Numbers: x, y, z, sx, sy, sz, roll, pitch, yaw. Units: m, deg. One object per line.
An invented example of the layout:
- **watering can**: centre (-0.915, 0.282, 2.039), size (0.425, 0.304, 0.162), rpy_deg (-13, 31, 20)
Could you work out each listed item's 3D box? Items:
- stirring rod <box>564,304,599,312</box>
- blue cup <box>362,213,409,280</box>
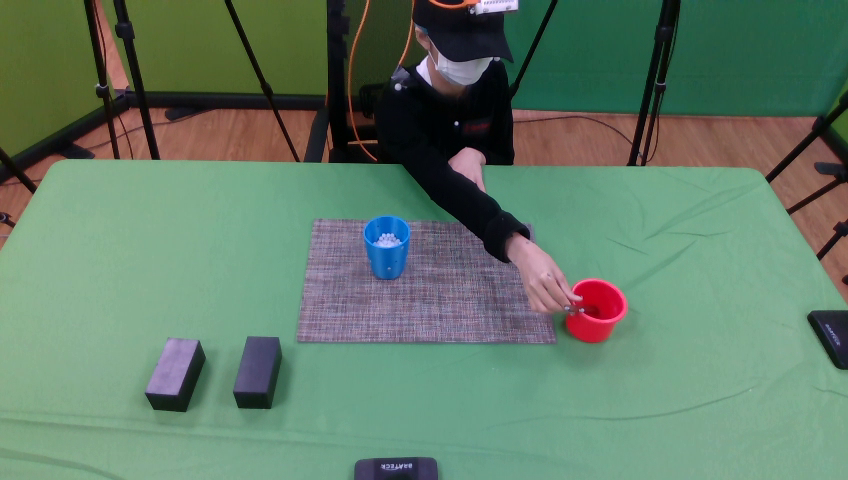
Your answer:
- **stirring rod**: centre (0.270, 0.116, 1.028), size (0.014, 0.006, 0.177), rpy_deg (45, 16, 27)
- **blue cup**: centre (-0.069, 0.020, 1.113), size (0.092, 0.101, 0.092), rpy_deg (1, 46, -1)
